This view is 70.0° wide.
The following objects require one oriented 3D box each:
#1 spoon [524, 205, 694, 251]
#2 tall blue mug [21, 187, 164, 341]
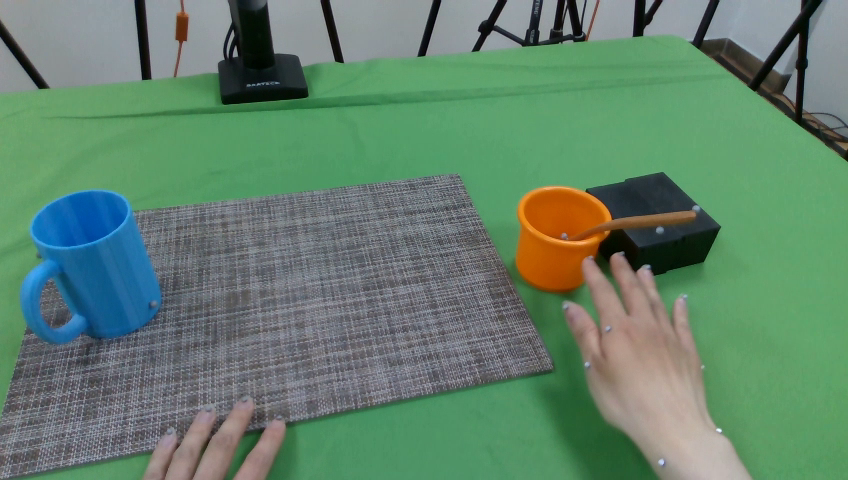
[{"bbox_3d":[0.164,-0.012,0.568,0.042,0.193,0.021,-24,92,-32],"label":"spoon"},{"bbox_3d":[-0.279,0.029,0.517,0.078,0.109,0.106,-2,43,-7],"label":"tall blue mug"}]
